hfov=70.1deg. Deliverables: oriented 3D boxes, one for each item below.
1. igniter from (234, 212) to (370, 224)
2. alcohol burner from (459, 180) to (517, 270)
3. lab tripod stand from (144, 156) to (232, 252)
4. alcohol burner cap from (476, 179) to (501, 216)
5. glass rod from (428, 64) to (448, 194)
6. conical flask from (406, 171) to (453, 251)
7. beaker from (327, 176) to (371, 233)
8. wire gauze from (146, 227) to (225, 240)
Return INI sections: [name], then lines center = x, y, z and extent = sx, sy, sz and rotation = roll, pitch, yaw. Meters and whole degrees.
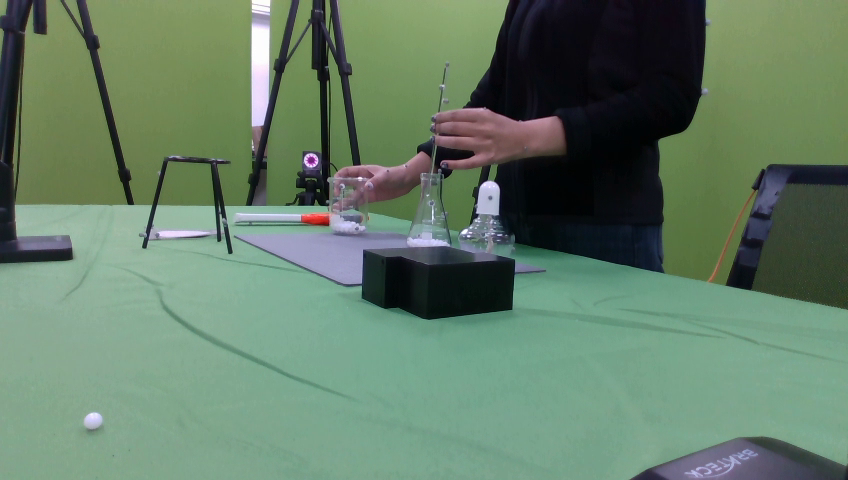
[igniter]
center = -0.247, -0.046, 1.253
extent = 0.278, 0.025, 0.057
rotation = -1, -2, -27
[alcohol burner]
center = 0.086, -0.021, 0.806
extent = 0.078, 0.119, 0.078
rotation = 3, 9, 0
[lab tripod stand]
center = -0.325, -0.054, 0.881
extent = 0.148, 0.131, 0.148
rotation = 4, 7, 0
[alcohol burner cap]
center = 0.086, -0.057, 0.801
extent = 0.034, 0.048, 0.034
rotation = 4, 3, 0
[glass rod]
center = 0.021, -0.164, 0.917
extent = 0.008, 0.199, 0.008
rotation = 7, 20, -2
[conical flask]
center = 0.011, -0.046, 0.948
extent = 0.075, 0.122, 0.075
rotation = 2, 8, 0
[beaker]
center = -0.139, -0.065, 1.100
extent = 0.084, 0.100, 0.074
rotation = 5, 8, 21
[wire gauze]
center = -0.400, -0.012, 1.019
extent = 0.122, 0.011, 0.124
rotation = -1, 6, -26
